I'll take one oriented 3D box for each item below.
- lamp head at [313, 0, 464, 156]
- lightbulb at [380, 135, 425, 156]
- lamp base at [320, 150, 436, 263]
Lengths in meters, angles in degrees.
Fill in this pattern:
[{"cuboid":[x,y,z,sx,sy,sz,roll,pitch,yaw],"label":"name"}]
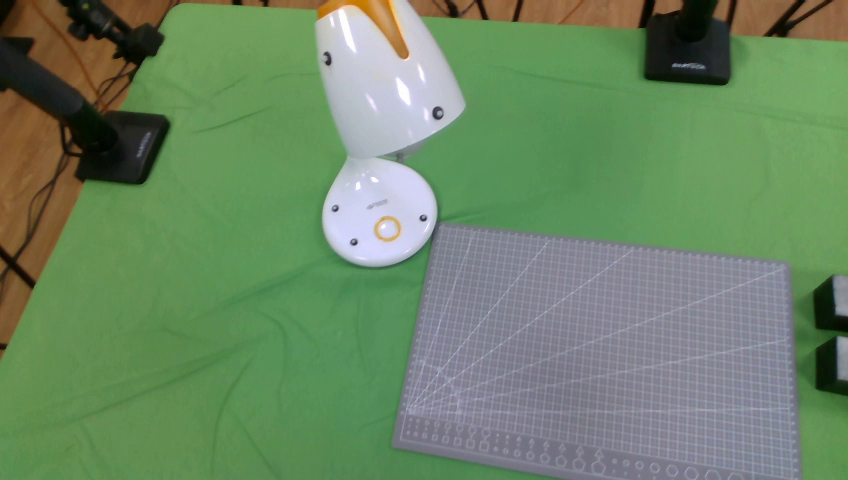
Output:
[{"cuboid":[-0.040,-0.146,0.499,0.112,0.124,0.111,-23,22,10],"label":"lamp head"},{"cuboid":[-0.033,-0.122,0.506,0.059,0.108,0.059,-14,26,7],"label":"lightbulb"},{"cuboid":[-0.079,-0.084,0.769,0.160,0.182,0.177,-31,63,-8],"label":"lamp base"}]
